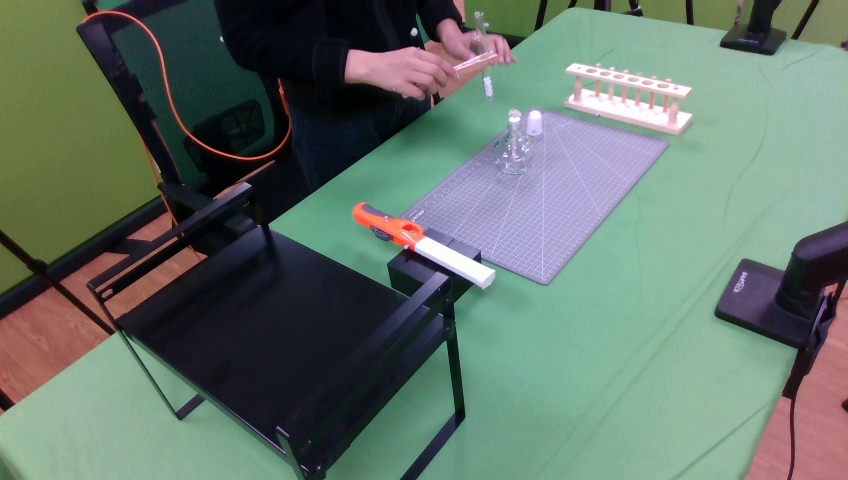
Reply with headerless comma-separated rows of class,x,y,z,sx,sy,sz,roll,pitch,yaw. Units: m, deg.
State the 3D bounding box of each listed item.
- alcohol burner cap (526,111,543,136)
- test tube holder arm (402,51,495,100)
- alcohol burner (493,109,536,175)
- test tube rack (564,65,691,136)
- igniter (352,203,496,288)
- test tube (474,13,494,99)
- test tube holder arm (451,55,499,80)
alcohol burner cap,0.219,-0.232,1.196,0.034,0.048,0.033,-4,40,4
test tube holder arm,0.043,-0.280,1.027,0.179,0.015,0.013,-26,45,-12
alcohol burner,0.163,-0.179,1.087,0.078,0.119,0.077,-5,39,5
test tube rack,0.404,-0.288,1.204,0.240,0.085,0.067,24,49,32
igniter,-0.011,0.002,0.899,0.274,0.025,0.057,27,45,33
test tube,0.103,-0.311,1.033,0.017,0.151,0.017,-8,39,7
test tube holder arm,0.086,-0.294,1.030,0.088,0.015,0.010,-20,45,-5
